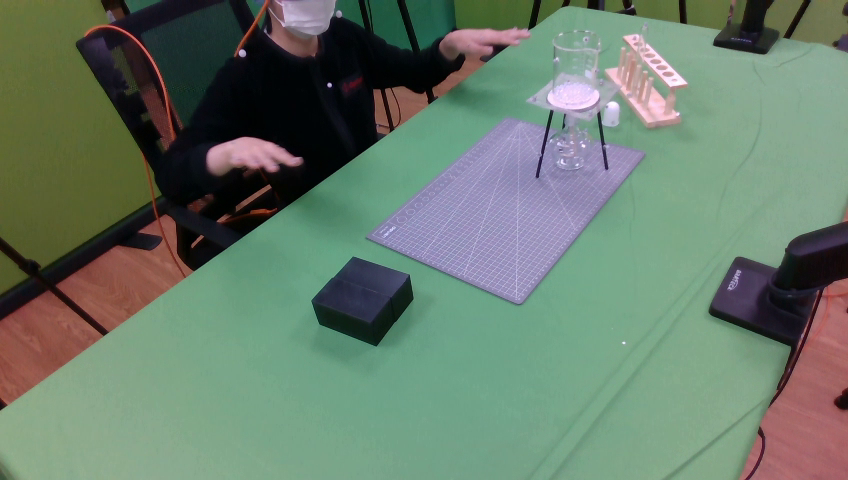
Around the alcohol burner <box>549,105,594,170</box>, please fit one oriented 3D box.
[{"bbox_3d":[0.262,-0.186,1.076,0.078,0.119,0.077,-6,41,6],"label":"alcohol burner"}]

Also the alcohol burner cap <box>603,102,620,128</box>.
[{"bbox_3d":[0.371,-0.249,1.193,0.034,0.048,0.033,-5,41,5],"label":"alcohol burner cap"}]

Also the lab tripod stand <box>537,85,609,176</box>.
[{"bbox_3d":[0.259,-0.192,1.068,0.148,0.132,0.147,-4,43,4],"label":"lab tripod stand"}]

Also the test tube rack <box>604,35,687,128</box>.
[{"bbox_3d":[0.447,-0.330,1.241,0.067,0.085,0.241,-9,41,-2],"label":"test tube rack"}]

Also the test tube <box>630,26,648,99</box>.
[{"bbox_3d":[0.426,-0.350,1.199,0.017,0.151,0.017,-4,42,4],"label":"test tube"}]

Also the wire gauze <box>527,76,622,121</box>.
[{"bbox_3d":[0.255,-0.247,1.030,0.124,0.011,0.122,23,49,34],"label":"wire gauze"}]

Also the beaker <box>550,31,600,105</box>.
[{"bbox_3d":[0.250,-0.281,0.996,0.074,0.101,0.083,-37,49,-27],"label":"beaker"}]
